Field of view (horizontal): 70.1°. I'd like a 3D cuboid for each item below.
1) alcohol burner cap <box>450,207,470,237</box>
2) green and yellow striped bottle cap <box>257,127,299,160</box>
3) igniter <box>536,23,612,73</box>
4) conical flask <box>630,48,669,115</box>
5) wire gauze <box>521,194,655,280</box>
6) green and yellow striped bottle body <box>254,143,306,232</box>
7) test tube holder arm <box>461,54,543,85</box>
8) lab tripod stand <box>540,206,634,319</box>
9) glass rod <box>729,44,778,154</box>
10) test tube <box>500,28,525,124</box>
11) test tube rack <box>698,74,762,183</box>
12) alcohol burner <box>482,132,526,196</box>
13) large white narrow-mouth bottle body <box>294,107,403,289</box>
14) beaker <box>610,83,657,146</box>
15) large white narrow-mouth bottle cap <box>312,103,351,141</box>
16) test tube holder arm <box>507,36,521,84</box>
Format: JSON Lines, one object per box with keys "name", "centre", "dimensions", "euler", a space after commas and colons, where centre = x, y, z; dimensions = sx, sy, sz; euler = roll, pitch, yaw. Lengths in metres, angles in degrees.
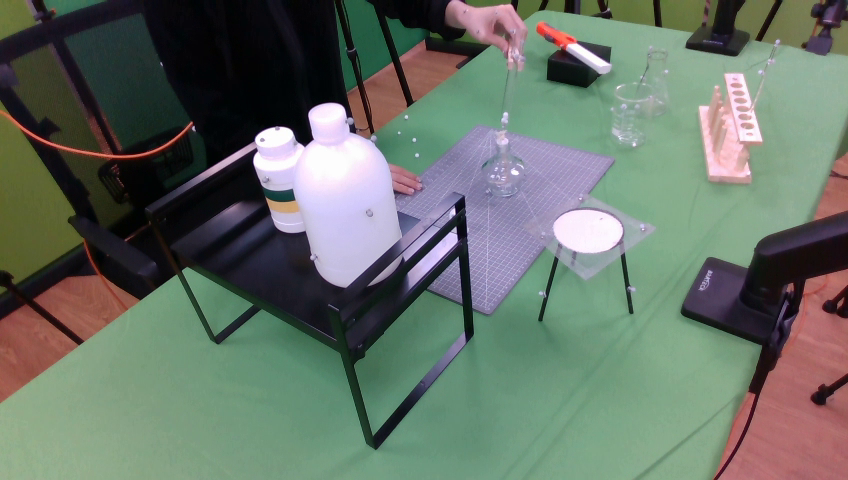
{"name": "alcohol burner cap", "centre": [0.057, -0.032, 0.987], "dimensions": [0.034, 0.048, 0.033], "euler": [-5, 41, 5]}
{"name": "green and yellow striped bottle cap", "centre": [-0.169, -0.112, 0.698], "dimensions": [0.045, 0.020, 0.045], "euler": [-6, 40, 5]}
{"name": "igniter", "centre": [0.330, -0.439, 1.366], "dimensions": [0.057, 0.025, 0.274], "euler": [-12, 40, -20]}
{"name": "conical flask", "centre": [0.457, -0.317, 1.205], "dimensions": [0.075, 0.122, 0.075], "euler": [-4, 41, 4]}
{"name": "wire gauze", "centre": [0.207, -0.012, 0.772], "dimensions": [0.122, 0.011, 0.124], "euler": [-28, 44, -20]}
{"name": "green and yellow striped bottle body", "centre": [-0.165, -0.073, 0.732], "dimensions": [0.063, 0.120, 0.063], "euler": [-4, 41, 4]}
{"name": "test tube holder arm", "centre": [0.125, -0.280, 1.001], "dimensions": [0.177, 0.013, 0.015], "euler": [1, 54, 50]}
{"name": "lab tripod stand", "centre": [0.218, 0.034, 0.821], "dimensions": [0.148, 0.132, 0.147], "euler": [-4, 42, 4]}
{"name": "glass rod", "centre": [0.554, -0.233, 1.020], "dimensions": [0.008, 0.200, 0.008], "euler": [2, 39, -1]}
{"name": "test tube", "centre": [0.139, -0.256, 0.956], "dimensions": [0.017, 0.150, 0.017], "euler": [5, 29, -2]}
{"name": "test tube rack", "centre": [0.547, -0.208, 1.095], "dimensions": [0.066, 0.085, 0.242], "euler": [5, 42, 15]}
{"name": "alcohol burner", "centre": [0.137, -0.136, 1.042], "dimensions": [0.078, 0.119, 0.077], "euler": [-4, 43, 4]}
{"name": "large white narrow-mouth bottle body", "centre": [-0.082, -0.047, 0.634], "dimensions": [0.102, 0.195, 0.101], "euler": [-4, 39, 4]}
{"name": "beaker", "centre": [0.388, -0.235, 1.138], "dimensions": [0.074, 0.101, 0.083], "euler": [-31, 46, -25]}
{"name": "large white narrow-mouth bottle cap", "centre": [-0.089, -0.113, 0.579], "dimensions": [0.038, 0.024, 0.037], "euler": [-4, 39, 3]}
{"name": "test tube holder arm", "centre": [0.144, -0.286, 0.965], "dimensions": [0.010, 0.088, 0.015], "euler": [23, 65, 27]}
